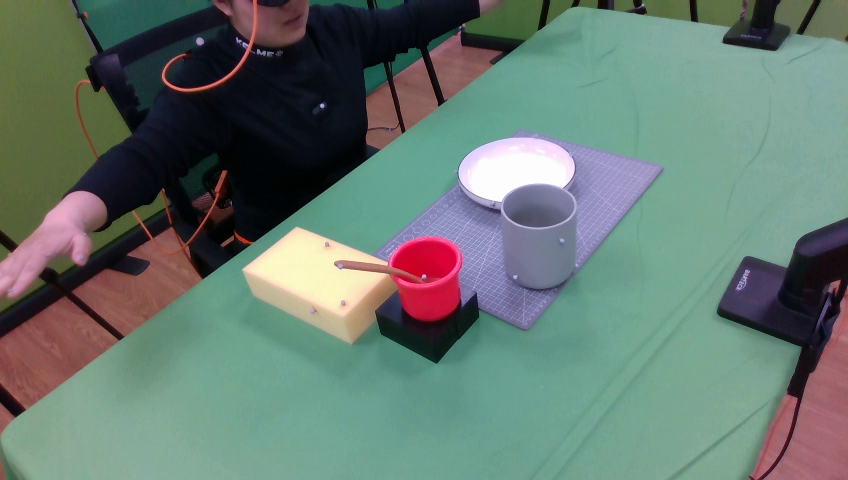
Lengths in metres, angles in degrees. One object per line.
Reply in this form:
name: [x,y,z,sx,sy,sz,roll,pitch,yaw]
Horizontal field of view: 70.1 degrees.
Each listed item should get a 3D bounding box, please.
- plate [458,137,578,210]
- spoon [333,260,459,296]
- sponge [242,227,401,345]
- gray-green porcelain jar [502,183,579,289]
plate: [0.165,-0.113,1.068,0.207,0.039,0.206,-5,40,5]
spoon: [-0.031,0.045,0.762,0.195,0.021,0.041,19,20,-39]
sponge: [-0.154,0.063,0.907,0.205,0.061,0.118,19,48,29]
gray-green porcelain jar: [0.166,-0.001,0.866,0.106,0.127,0.105,-5,40,5]
